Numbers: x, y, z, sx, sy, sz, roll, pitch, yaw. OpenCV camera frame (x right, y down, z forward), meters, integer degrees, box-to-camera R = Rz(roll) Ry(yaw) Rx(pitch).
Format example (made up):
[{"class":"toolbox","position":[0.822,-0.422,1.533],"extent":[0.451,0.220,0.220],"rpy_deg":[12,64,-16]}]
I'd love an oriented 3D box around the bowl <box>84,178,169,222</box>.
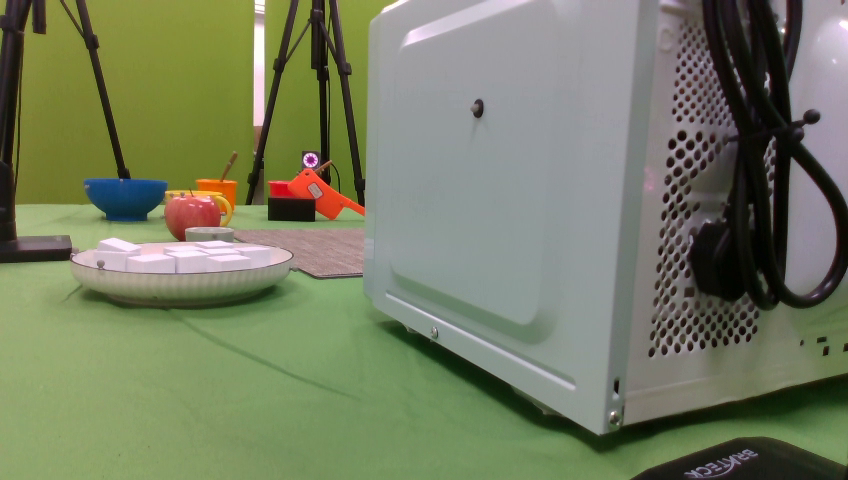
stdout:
[{"class":"bowl","position":[-0.584,-0.078,1.194],"extent":[0.151,0.077,0.151],"rpy_deg":[3,8,0]}]

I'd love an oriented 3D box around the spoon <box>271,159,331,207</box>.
[{"class":"spoon","position":[-0.308,-0.142,1.514],"extent":[0.193,0.021,0.041],"rpy_deg":[-41,5,9]}]

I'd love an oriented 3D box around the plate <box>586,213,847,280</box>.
[{"class":"plate","position":[0.243,0.002,0.512],"extent":[0.209,0.038,0.209],"rpy_deg":[2,7,0]}]

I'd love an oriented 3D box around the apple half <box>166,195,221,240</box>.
[{"class":"apple half","position":[-0.351,-0.031,0.935],"extent":[0.081,0.074,0.053],"rpy_deg":[1,11,-40]}]

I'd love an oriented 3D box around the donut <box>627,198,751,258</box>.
[{"class":"donut","position":[0.226,-0.010,0.520],"extent":[0.099,0.048,0.099],"rpy_deg":[4,6,0]}]

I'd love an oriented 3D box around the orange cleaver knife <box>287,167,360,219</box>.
[{"class":"orange cleaver knife","position":[-0.209,-0.089,1.383],"extent":[0.212,0.077,0.012],"rpy_deg":[31,3,-15]}]

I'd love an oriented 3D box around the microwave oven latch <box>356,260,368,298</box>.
[{"class":"microwave oven latch","position":[-0.020,0.033,0.530],"extent":[0.079,0.029,0.030],"rpy_deg":[0,7,-26]}]

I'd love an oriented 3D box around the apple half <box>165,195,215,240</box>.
[{"class":"apple half","position":[-0.377,-0.038,0.964],"extent":[0.082,0.081,0.032],"rpy_deg":[-4,14,-39]}]

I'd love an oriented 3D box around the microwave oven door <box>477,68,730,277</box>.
[{"class":"microwave oven door","position":[0.219,-0.097,0.825],"extent":[0.039,0.243,0.354],"rpy_deg":[-5,10,-42]}]

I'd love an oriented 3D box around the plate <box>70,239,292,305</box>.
[{"class":"plate","position":[-0.242,0.031,0.618],"extent":[0.208,0.039,0.207],"rpy_deg":[2,8,0]}]

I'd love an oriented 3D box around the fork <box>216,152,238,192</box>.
[{"class":"fork","position":[-0.455,-0.132,1.367],"extent":[0.028,0.018,0.207],"rpy_deg":[-2,-35,-37]}]

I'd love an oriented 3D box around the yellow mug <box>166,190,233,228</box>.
[{"class":"yellow mug","position":[-0.415,-0.057,1.132],"extent":[0.130,0.064,0.100],"rpy_deg":[6,8,16]}]

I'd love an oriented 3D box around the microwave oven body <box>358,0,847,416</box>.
[{"class":"microwave oven body","position":[0.211,-0.047,0.475],"extent":[0.444,0.260,0.324],"rpy_deg":[-1,7,-28]}]

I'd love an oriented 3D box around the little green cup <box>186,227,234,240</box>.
[{"class":"little green cup","position":[-0.284,0.005,0.805],"extent":[0.061,0.038,0.061],"rpy_deg":[2,8,0]}]
